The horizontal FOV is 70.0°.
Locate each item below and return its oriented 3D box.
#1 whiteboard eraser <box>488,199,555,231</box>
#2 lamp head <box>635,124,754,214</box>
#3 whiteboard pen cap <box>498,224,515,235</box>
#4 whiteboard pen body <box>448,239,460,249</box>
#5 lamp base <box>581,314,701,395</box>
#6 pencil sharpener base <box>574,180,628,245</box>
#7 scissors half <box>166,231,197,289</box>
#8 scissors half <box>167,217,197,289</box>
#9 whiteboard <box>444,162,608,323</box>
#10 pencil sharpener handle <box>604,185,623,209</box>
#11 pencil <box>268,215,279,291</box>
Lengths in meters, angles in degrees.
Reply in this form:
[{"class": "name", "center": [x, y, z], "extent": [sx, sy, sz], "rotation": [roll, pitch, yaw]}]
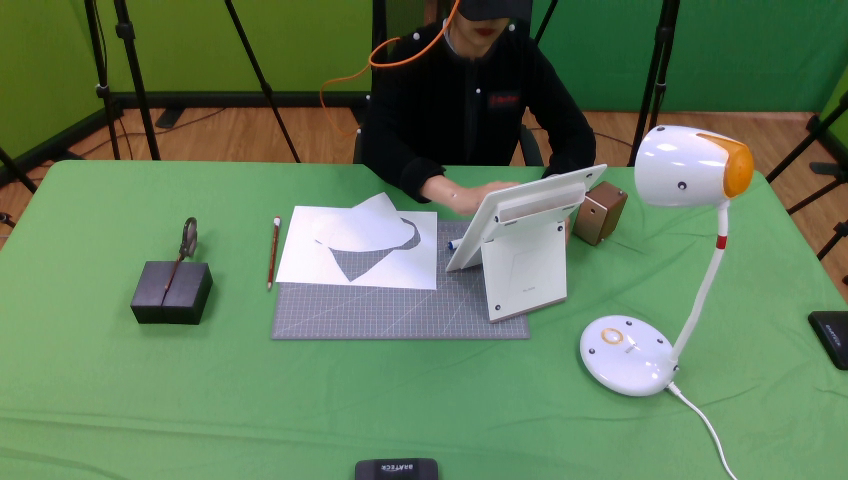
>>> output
[{"class": "whiteboard eraser", "center": [0.176, -0.044, 1.091], "extent": [0.113, 0.055, 0.041], "rotation": [-12, 79, -22]}, {"class": "lamp head", "center": [0.351, -0.089, 0.776], "extent": [0.112, 0.113, 0.122], "rotation": [-30, 30, -28]}, {"class": "whiteboard pen cap", "center": [0.166, -0.020, 1.223], "extent": [0.033, 0.018, 0.018], "rotation": [-14, 49, -18]}, {"class": "whiteboard pen body", "center": [0.112, -0.006, 1.203], "extent": [0.141, 0.017, 0.017], "rotation": [-15, 49, -17]}, {"class": "lamp base", "center": [0.361, 0.145, 0.973], "extent": [0.178, 0.181, 0.160], "rotation": [34, 53, 23]}, {"class": "pencil sharpener base", "center": [0.355, -0.056, 1.217], "extent": [0.076, 0.107, 0.061], "rotation": [-33, 56, -31]}, {"class": "scissors half", "center": [-0.440, 0.036, 1.098], "extent": [0.013, 0.040, 0.174], "rotation": [11, 28, -10]}, {"class": "scissors half", "center": [-0.436, 0.020, 1.086], "extent": [0.013, 0.040, 0.174], "rotation": [6, 47, -7]}, {"class": "whiteboard", "center": [0.186, 0.025, 1.029], "extent": [0.217, 0.306, 0.143], "rotation": [-14, 68, -18]}, {"class": "pencil sharpener handle", "center": [0.390, -0.091, 1.235], "extent": [0.030, 0.068, 0.036], "rotation": [-33, 69, -31]}, {"class": "pencil", "center": [-0.291, 0.023, 1.164], "extent": [0.012, 0.012, 0.192], "rotation": [-2, 48, -6]}]
